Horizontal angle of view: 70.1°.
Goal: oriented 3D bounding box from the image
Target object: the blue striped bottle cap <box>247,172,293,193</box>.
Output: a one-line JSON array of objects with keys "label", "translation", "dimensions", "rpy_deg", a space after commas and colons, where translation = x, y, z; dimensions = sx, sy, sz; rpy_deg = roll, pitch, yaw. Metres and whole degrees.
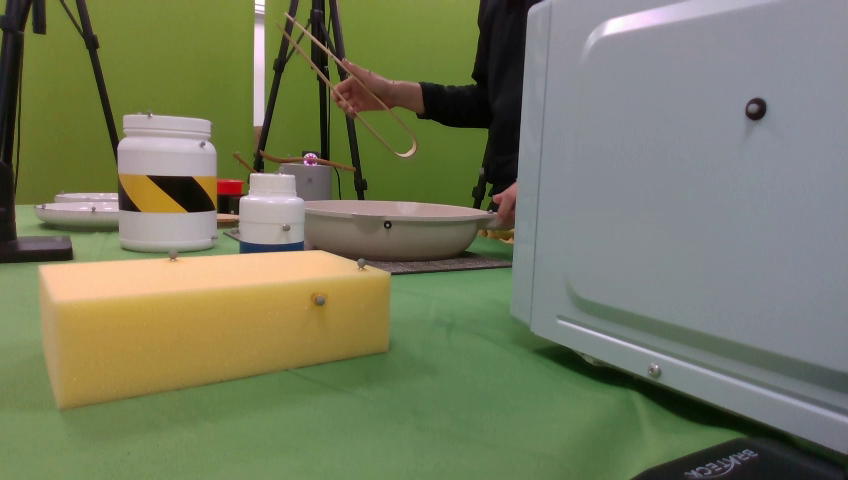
[{"label": "blue striped bottle cap", "translation": [-0.152, -0.057, 0.598], "dimensions": [0.044, 0.020, 0.044], "rpy_deg": [3, 6, 0]}]

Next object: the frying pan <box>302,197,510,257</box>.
[{"label": "frying pan", "translation": [0.051, -0.035, 0.915], "dimensions": [0.487, 0.102, 0.307], "rpy_deg": [-5, 7, 11]}]

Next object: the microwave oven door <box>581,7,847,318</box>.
[{"label": "microwave oven door", "translation": [0.295, -0.067, 0.569], "dimensions": [0.358, 0.243, 0.039], "rpy_deg": [-3, 8, -31]}]

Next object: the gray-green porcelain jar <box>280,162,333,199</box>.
[{"label": "gray-green porcelain jar", "translation": [-0.238, -0.092, 1.221], "dimensions": [0.106, 0.126, 0.106], "rpy_deg": [2, 7, 0]}]

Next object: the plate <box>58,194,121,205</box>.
[{"label": "plate", "translation": [-0.671, -0.074, 1.310], "dimensions": [0.209, 0.038, 0.209], "rpy_deg": [2, 8, 0]}]

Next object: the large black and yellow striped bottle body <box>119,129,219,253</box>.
[{"label": "large black and yellow striped bottle body", "translation": [-0.367, -0.080, 0.876], "dimensions": [0.131, 0.184, 0.130], "rpy_deg": [1, 7, 0]}]

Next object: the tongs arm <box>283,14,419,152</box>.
[{"label": "tongs arm", "translation": [-0.148, -0.321, 1.269], "dimensions": [0.386, 0.051, 0.026], "rpy_deg": [37, 2, -25]}]

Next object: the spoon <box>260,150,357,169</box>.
[{"label": "spoon", "translation": [-0.231, -0.162, 1.221], "dimensions": [0.194, 0.021, 0.041], "rpy_deg": [3, 2, -16]}]

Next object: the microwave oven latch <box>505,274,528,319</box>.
[{"label": "microwave oven latch", "translation": [0.100, 0.041, 0.471], "dimensions": [0.079, 0.029, 0.030], "rpy_deg": [-1, 7, -28]}]

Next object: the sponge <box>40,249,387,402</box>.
[{"label": "sponge", "translation": [-0.142, 0.047, 0.419], "dimensions": [0.208, 0.061, 0.117], "rpy_deg": [-3, 8, -36]}]

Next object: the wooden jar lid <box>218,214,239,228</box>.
[{"label": "wooden jar lid", "translation": [-0.404, -0.037, 1.169], "dimensions": [0.108, 0.020, 0.108], "rpy_deg": [3, 7, 0]}]

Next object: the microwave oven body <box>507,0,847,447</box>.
[{"label": "microwave oven body", "translation": [0.331, -0.042, 0.425], "dimensions": [0.444, 0.260, 0.324], "rpy_deg": [-2, 8, -31]}]

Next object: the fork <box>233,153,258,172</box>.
[{"label": "fork", "translation": [-0.396, -0.143, 1.486], "dimensions": [0.028, 0.018, 0.208], "rpy_deg": [21, -25, 45]}]

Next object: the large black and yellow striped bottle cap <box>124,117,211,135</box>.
[{"label": "large black and yellow striped bottle cap", "translation": [-0.366, -0.163, 0.866], "dimensions": [0.115, 0.019, 0.115], "rpy_deg": [3, 7, 0]}]

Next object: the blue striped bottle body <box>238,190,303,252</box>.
[{"label": "blue striped bottle body", "translation": [-0.153, -0.007, 0.606], "dimensions": [0.063, 0.120, 0.063], "rpy_deg": [2, 8, 0]}]

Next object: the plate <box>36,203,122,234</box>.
[{"label": "plate", "translation": [-0.571, -0.040, 1.083], "dimensions": [0.208, 0.039, 0.207], "rpy_deg": [2, 8, 0]}]

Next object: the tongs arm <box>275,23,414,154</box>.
[{"label": "tongs arm", "translation": [-0.161, -0.307, 1.269], "dimensions": [0.389, 0.028, 0.027], "rpy_deg": [43, -4, -26]}]
